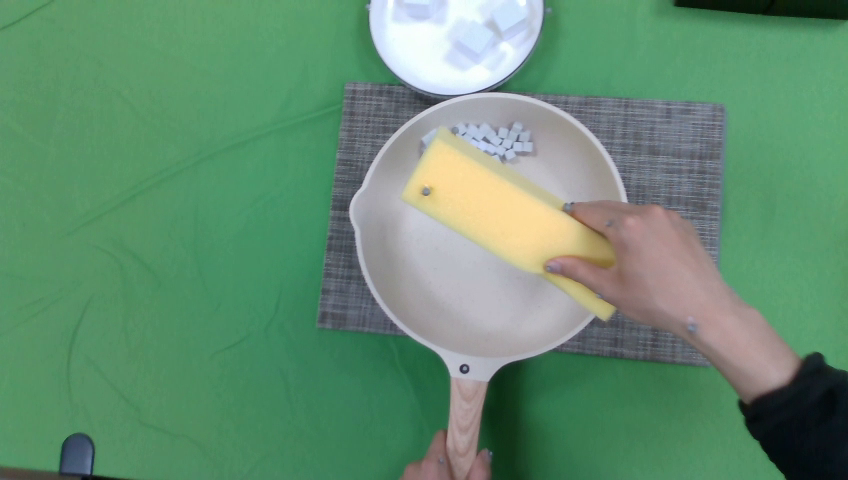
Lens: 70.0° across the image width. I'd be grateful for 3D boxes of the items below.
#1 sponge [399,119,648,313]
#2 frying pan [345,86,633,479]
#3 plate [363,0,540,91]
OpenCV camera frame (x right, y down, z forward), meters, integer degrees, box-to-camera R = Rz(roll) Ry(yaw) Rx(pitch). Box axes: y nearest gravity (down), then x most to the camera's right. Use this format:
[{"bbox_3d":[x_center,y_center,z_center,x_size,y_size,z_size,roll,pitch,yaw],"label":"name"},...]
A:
[{"bbox_3d":[0.084,-0.026,0.545,0.207,0.117,0.061,29,105,-8],"label":"sponge"},{"bbox_3d":[0.053,0.079,0.648,0.306,0.103,0.485,8,76,6],"label":"frying pan"},{"bbox_3d":[0.032,-0.275,0.726,0.207,0.039,0.207,-1,84,5],"label":"plate"}]
